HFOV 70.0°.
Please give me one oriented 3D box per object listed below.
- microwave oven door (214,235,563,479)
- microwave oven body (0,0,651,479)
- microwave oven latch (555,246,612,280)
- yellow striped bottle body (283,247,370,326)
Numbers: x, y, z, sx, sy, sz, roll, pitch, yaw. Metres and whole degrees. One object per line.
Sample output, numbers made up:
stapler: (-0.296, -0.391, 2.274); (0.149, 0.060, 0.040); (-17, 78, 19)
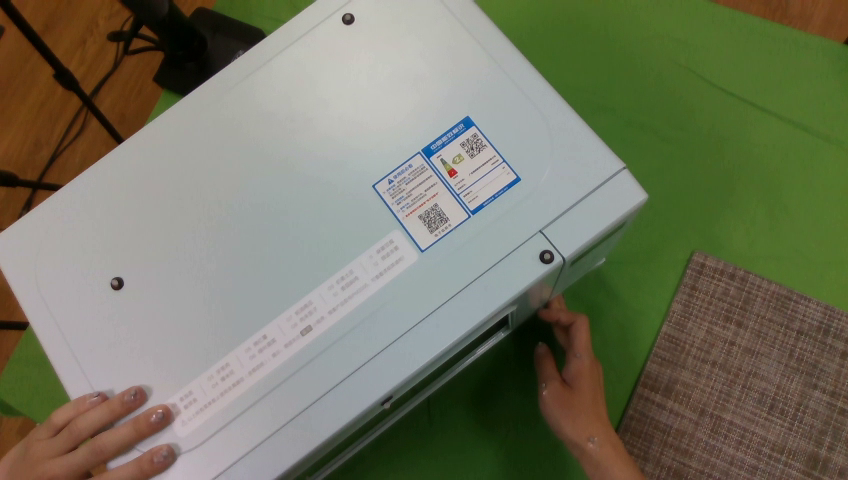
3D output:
microwave oven door: (-0.033, 0.132, 0.540); (0.356, 0.245, 0.039); (-37, 74, -2)
microwave oven body: (-0.084, -0.004, 0.583); (0.441, 0.261, 0.324); (-37, 75, -1)
microwave oven latch: (0.158, 0.019, 0.645); (0.079, 0.029, 0.030); (-25, 76, 2)
yellow striped bottle body: (-0.094, 0.045, 0.583); (0.063, 0.121, 0.062); (-1, 76, 6)
